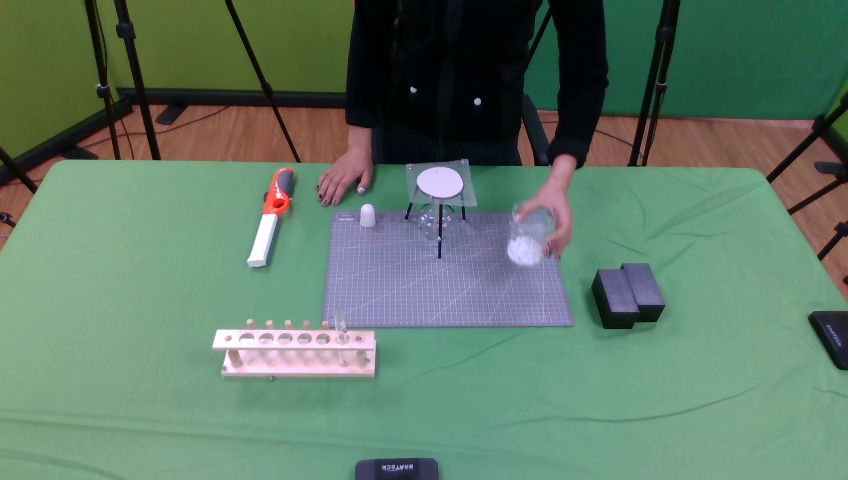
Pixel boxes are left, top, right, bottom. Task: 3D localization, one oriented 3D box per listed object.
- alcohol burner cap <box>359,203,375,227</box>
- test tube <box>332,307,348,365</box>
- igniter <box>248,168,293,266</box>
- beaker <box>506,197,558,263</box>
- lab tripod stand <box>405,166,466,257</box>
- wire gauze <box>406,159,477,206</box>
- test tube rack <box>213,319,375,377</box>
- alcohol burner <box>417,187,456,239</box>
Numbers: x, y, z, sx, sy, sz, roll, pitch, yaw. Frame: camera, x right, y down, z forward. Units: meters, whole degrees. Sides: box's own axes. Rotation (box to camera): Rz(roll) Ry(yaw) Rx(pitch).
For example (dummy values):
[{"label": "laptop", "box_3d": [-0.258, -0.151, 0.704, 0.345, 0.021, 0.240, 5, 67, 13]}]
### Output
[{"label": "alcohol burner cap", "box_3d": [-0.115, -0.053, 1.224, 0.034, 0.048, 0.033, 3, 47, -3]}, {"label": "test tube", "box_3d": [-0.128, 0.151, 0.931, 0.017, 0.151, 0.017, 1, 50, -2]}, {"label": "igniter", "box_3d": [-0.307, -0.055, 1.225, 0.057, 0.025, 0.275, -3, 46, 6]}, {"label": "beaker", "box_3d": [0.181, -0.016, 1.053, 0.074, 0.101, 0.083, -30, 55, -28]}, {"label": "lab tripod stand", "box_3d": [0.030, -0.063, 1.180, 0.148, 0.132, 0.147, 3, 47, -3]}, {"label": "wire gauze", "box_3d": [0.031, -0.108, 1.129, 0.125, 0.011, 0.120, -1, 48, -4]}, {"label": "test tube rack", "box_3d": [-0.202, 0.170, 0.977, 0.242, 0.085, 0.066, 1, 46, -3]}, {"label": "alcohol burner", "box_3d": [0.025, -0.059, 1.189, 0.078, 0.120, 0.077, 1, 48, -1]}]
